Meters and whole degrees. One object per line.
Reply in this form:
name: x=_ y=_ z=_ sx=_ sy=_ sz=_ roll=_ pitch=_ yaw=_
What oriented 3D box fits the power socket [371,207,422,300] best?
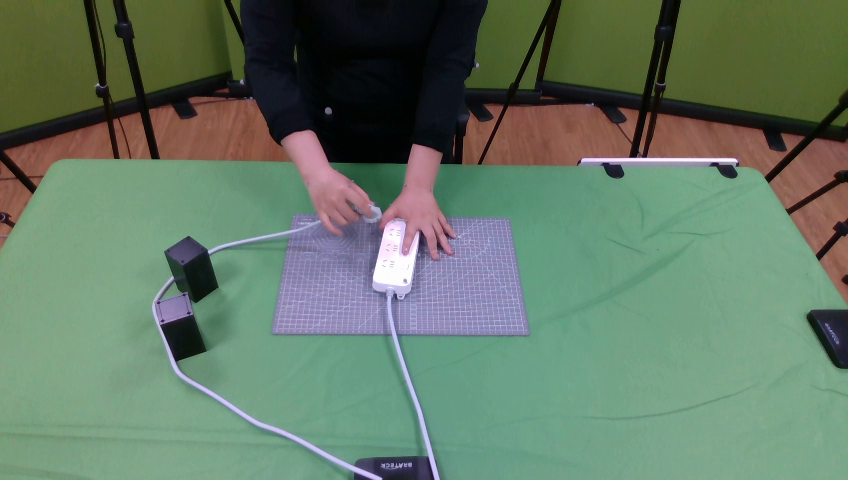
power socket: x=-0.051 y=0.018 z=1.165 sx=0.072 sy=0.033 sz=0.225 roll=7 pitch=46 yaw=4

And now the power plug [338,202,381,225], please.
power plug: x=-0.116 y=-0.051 z=1.134 sx=0.072 sy=0.053 sz=0.035 roll=10 pitch=56 yaw=17
